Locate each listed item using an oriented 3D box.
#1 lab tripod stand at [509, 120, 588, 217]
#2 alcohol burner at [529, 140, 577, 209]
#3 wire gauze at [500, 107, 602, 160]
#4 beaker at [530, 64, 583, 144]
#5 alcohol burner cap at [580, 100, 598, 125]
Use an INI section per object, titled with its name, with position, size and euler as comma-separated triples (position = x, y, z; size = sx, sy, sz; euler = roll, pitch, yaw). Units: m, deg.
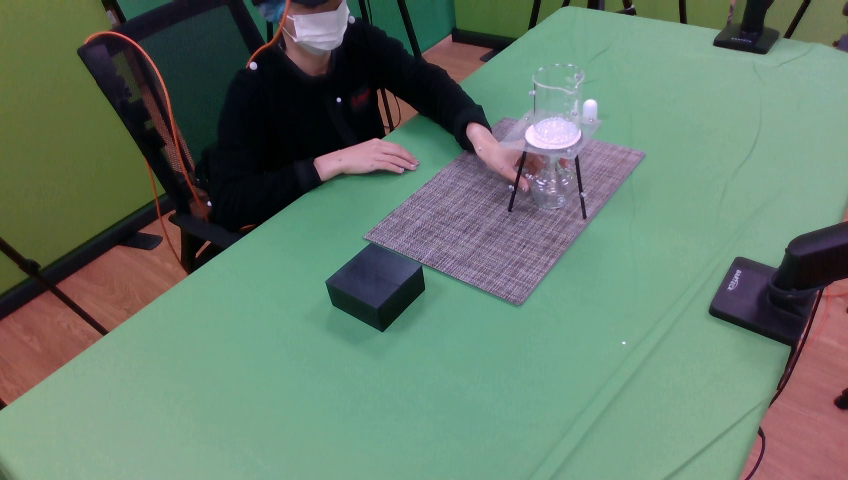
[lab tripod stand]
position = 0.208, -0.114, 0.983
size = 0.148, 0.132, 0.147
euler = -5, 42, 5
[alcohol burner]
position = 0.212, -0.111, 0.994
size = 0.078, 0.119, 0.077
euler = -6, 41, 5
[wire gauze]
position = 0.199, -0.166, 0.945
size = 0.120, 0.011, 0.125
euler = 17, 50, 28
[beaker]
position = 0.201, -0.201, 0.909
size = 0.074, 0.101, 0.083
euler = -19, 43, -10
[alcohol burner cap]
position = 0.331, -0.258, 1.210
size = 0.034, 0.048, 0.033
euler = -4, 41, 4
